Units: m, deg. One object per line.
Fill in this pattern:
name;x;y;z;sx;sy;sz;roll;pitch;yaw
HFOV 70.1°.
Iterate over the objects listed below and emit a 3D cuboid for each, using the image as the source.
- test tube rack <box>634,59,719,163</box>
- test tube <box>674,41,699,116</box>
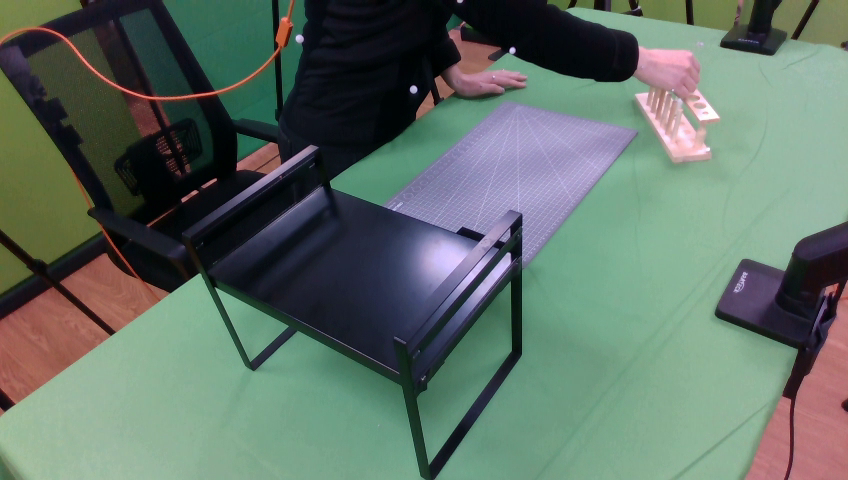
test tube rack;0.471;-0.250;1.148;0.067;0.085;0.241;-6;40;3
test tube;0.484;-0.296;1.124;0.017;0.151;0.017;-1;44;2
